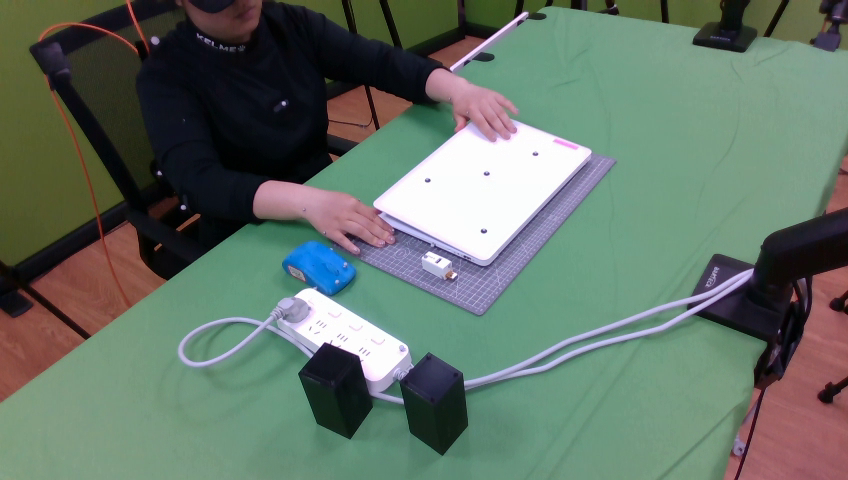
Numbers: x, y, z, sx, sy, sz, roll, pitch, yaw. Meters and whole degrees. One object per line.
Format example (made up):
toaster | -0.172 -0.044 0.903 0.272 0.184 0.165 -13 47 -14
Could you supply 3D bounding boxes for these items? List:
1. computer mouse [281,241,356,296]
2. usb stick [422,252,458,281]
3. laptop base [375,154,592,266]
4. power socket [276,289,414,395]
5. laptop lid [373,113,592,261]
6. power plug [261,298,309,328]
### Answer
computer mouse | -0.164 0.041 0.934 0.116 0.041 0.063 27 49 28
usb stick | 0.025 0.042 0.908 0.058 0.027 0.021 27 49 31
laptop base | 0.112 -0.091 1.063 0.233 0.023 0.355 20 48 34
power socket | -0.114 0.133 0.820 0.225 0.033 0.072 25 49 33
laptop lid | 0.108 -0.110 1.048 0.240 0.013 0.358 28 51 28
power plug | -0.192 0.107 0.831 0.073 0.053 0.035 -33 43 -25
